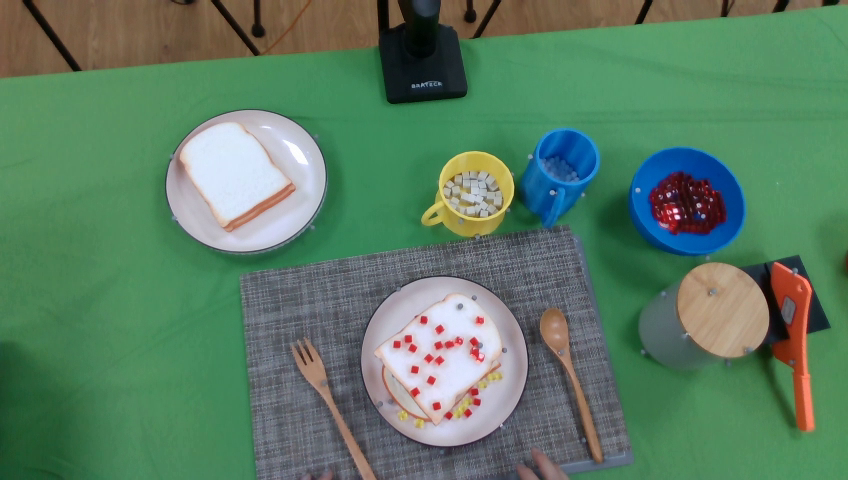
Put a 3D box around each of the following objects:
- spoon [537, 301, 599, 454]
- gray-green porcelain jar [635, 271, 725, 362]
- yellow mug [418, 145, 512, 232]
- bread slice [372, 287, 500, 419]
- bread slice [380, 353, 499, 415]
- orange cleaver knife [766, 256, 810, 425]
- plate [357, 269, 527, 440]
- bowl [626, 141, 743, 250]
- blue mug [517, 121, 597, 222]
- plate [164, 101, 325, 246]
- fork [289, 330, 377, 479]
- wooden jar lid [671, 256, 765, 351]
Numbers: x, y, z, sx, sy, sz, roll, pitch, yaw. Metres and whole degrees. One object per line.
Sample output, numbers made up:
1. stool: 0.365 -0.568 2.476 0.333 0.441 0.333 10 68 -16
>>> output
1. spoon: 0.183 0.171 0.759 0.042 0.021 0.192 -8 71 -29
2. gray-green porcelain jar: 0.327 0.093 0.745 0.106 0.127 0.105 1 71 -4
3. yellow mug: 0.050 -0.061 0.808 0.131 0.064 0.099 -28 75 -11
4. bread slice: 0.020 0.119 0.696 0.107 0.018 0.134 46 69 5
5. bread slice: 0.013 0.150 0.750 0.131 0.019 0.104 -39 77 -17
6. orange cleaver knife: 0.459 0.126 0.766 0.012 0.077 0.212 -9 99 -6
7. plate: 0.021 0.139 0.751 0.209 0.038 0.208 1 72 -3
8. bowl: 0.336 -0.049 0.817 0.151 0.077 0.150 1 72 -4
9. blue mug: 0.171 -0.081 0.802 0.082 0.106 0.116 12 71 1
10. plate: -0.236 -0.087 0.811 0.208 0.039 0.206 1 72 -4
11. fork: -0.109 0.202 0.730 0.028 0.019 0.206 -26 74 -22
12. wooden jar lid: 0.330 0.072 0.685 0.108 0.021 0.108 2 74 -6
